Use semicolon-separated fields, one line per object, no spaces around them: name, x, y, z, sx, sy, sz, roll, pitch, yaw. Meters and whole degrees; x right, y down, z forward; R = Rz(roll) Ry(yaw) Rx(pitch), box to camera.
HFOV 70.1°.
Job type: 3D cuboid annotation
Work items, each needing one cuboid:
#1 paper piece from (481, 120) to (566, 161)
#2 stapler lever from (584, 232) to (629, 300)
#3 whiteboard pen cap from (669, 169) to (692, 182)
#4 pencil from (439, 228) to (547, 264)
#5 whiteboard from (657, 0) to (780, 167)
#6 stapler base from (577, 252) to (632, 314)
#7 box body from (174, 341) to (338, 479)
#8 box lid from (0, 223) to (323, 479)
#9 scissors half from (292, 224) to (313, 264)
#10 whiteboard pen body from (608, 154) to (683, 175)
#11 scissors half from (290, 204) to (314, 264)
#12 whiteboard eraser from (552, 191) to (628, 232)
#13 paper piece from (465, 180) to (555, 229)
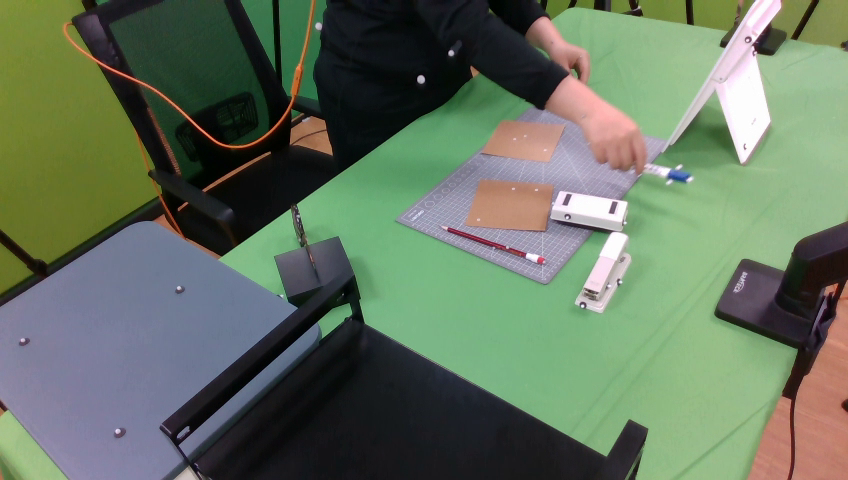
paper piece;0.197;-0.199;1.188;0.135;0.004;0.135;11;43;21
stapler lever;0.261;0.034;0.858;0.026;0.040;0.118;16;46;30
whiteboard pen cap;0.409;-0.103;0.965;0.033;0.018;0.018;22;48;41
pencil;0.105;0.007;0.958;0.192;0.012;0.012;18;46;30
whiteboard;0.571;-0.272;1.038;0.143;0.306;0.218;37;54;17
stapler base;0.264;0.051;0.875;0.041;0.024;0.131;16;47;30
box body;-0.311;0.165;0.720;0.361;0.161;0.255;23;48;32
box lid;-0.318;0.109;0.671;0.368;0.015;0.264;24;49;31
scissors half;-0.189;0.007;0.954;0.013;0.040;0.174;-17;20;-14
whiteboard pen body;0.369;-0.123;1.002;0.017;0.017;0.139;-36;38;-30
scissors half;-0.191;-0.010;0.945;0.013;0.040;0.173;-12;37;-17
whiteboard eraser;0.266;-0.044;0.967;0.112;0.042;0.055;11;42;20
paper piece;0.149;-0.062;1.034;0.137;0.009;0.136;5;37;17
